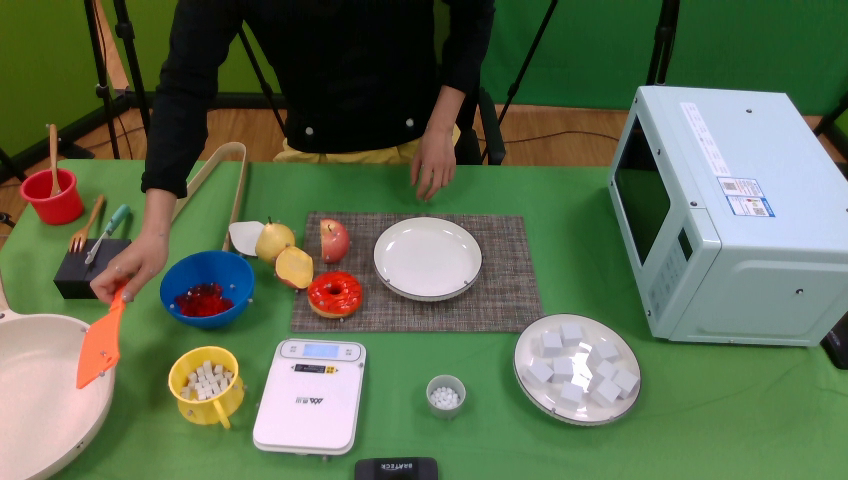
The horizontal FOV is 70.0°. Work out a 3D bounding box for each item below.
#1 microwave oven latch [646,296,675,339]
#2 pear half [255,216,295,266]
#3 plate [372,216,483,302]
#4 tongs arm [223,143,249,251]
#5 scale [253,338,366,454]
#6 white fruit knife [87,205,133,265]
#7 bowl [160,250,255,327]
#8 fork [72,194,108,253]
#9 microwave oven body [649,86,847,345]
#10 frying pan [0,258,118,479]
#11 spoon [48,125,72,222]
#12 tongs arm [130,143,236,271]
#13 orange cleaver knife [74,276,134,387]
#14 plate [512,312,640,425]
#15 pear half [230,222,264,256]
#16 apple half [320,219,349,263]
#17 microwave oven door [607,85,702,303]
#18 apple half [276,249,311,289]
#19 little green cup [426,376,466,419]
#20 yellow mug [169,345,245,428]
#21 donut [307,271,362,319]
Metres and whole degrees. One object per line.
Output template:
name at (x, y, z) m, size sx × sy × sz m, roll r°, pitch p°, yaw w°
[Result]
microwave oven latch at (0.412, 0.134, 1.061) m, size 0.030 × 0.029 × 0.078 m, roll 4°, pitch 45°, yaw 1°
pear half at (-0.270, 0.001, 1.117) m, size 0.056 × 0.110 × 0.076 m, roll 25°, pitch 54°, yaw 19°
plate at (0.006, 0.038, 1.145) m, size 0.209 × 0.038 × 0.208 m, roll 2°, pitch 46°, yaw -2°
tongs arm at (-0.397, -0.074, 1.232) m, size 0.051 × 0.026 × 0.382 m, roll -1°, pitch 45°, yaw -1°
scale at (-0.175, 0.236, 0.951) m, size 0.149 × 0.032 × 0.199 m, roll 4°, pitch 45°, yaw 0°
white fruit knife at (-0.584, -0.013, 1.129) m, size 0.016 × 0.027 × 0.206 m, roll 0°, pitch 31°, yaw -4°
bowl at (-0.362, 0.097, 1.039) m, size 0.151 × 0.077 × 0.150 m, roll 2°, pitch 46°, yaw -2°
fork at (-0.634, -0.036, 1.158) m, size 0.028 × 0.019 × 0.206 m, roll -8°, pitch 32°, yaw -8°
microwave oven body at (0.567, -0.053, 1.118) m, size 0.326 × 0.261 × 0.439 m, roll 2°, pitch 45°, yaw -1°
frying pan at (-0.647, 0.164, 0.936) m, size 0.307 × 0.103 × 0.485 m, roll -19°, pitch 58°, yaw -22°
spoon at (-0.718, -0.131, 1.189) m, size 0.041 × 0.021 × 0.193 m, roll -3°, pitch 90°, yaw -7°
tongs arm at (-0.483, -0.080, 1.232) m, size 0.028 × 0.028 × 0.385 m, roll 7°, pitch 45°, yaw 11°
orange cleaver knife at (-0.467, 0.128, 0.888) m, size 0.077 × 0.012 × 0.210 m, roll -26°, pitch 37°, yaw 2°
plate at (0.246, 0.213, 0.999) m, size 0.208 × 0.039 × 0.206 m, roll 2°, pitch 46°, yaw -2°
pear half at (-0.334, 0.001, 1.167) m, size 0.088 × 0.031 × 0.070 m, roll 30°, pitch 49°, yaw 4°
apple half at (-0.169, 0.002, 1.144) m, size 0.053 × 0.075 × 0.080 m, roll -3°, pitch 42°, yaw -12°
microwave oven door at (0.423, -0.094, 1.140) m, size 0.039 × 0.245 × 0.353 m, roll 2°, pitch 46°, yaw -1°
apple half at (-0.244, 0.057, 1.114) m, size 0.082 × 0.033 × 0.081 m, roll 38°, pitch 32°, yaw -29°
little green cup at (0.033, 0.248, 0.950) m, size 0.061 × 0.039 × 0.061 m, roll 2°, pitch 46°, yaw -2°
yellow mug at (-0.322, 0.230, 0.922) m, size 0.100 × 0.064 × 0.130 m, roll -24°, pitch 53°, yaw -25°
donut at (-0.158, 0.097, 1.073) m, size 0.099 × 0.048 × 0.098 m, roll 4°, pitch 45°, yaw -4°
